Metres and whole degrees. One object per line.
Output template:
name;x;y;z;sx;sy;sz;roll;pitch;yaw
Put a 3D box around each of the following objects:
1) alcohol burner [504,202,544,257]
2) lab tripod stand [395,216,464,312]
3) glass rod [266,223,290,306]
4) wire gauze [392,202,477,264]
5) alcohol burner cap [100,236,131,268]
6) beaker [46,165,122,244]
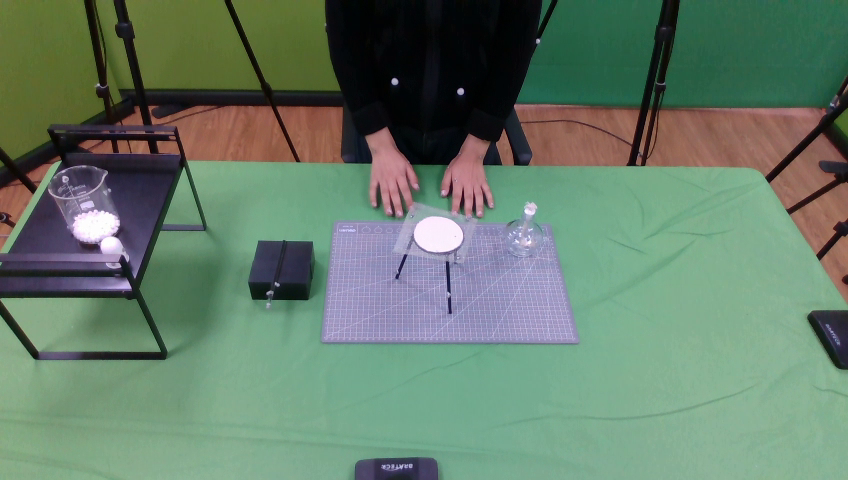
alcohol burner;0.195;-0.025;1.170;0.078;0.119;0.077;2;44;-2
lab tripod stand;0.023;0.036;1.084;0.148;0.132;0.147;4;46;-4
glass rod;-0.260;0.039;1.083;0.008;0.008;0.198;3;46;-1
wire gauze;0.021;-0.011;1.037;0.121;0.011;0.124;13;47;8
alcohol burner cap;-0.452;0.016;0.883;0.034;0.048;0.033;1;48;-1
beaker;-0.499;-0.051;0.905;0.073;0.101;0.084;35;53;26
